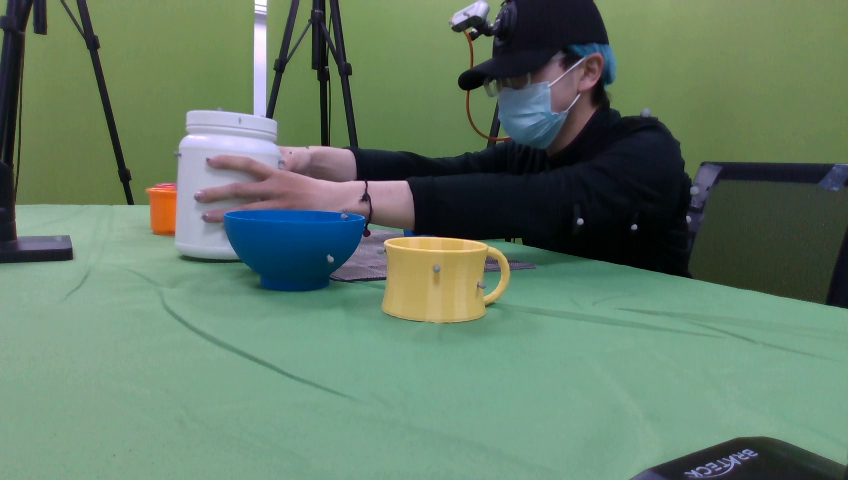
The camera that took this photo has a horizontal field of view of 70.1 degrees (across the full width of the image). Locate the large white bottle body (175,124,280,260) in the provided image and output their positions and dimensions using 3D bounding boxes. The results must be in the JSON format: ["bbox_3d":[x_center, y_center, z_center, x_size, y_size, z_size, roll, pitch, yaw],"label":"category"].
[{"bbox_3d":[-0.263,-0.071,0.818,0.131,0.184,0.130,4,5,0],"label":"large white bottle body"}]

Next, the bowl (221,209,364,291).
[{"bbox_3d":[-0.142,0.011,0.660,0.151,0.077,0.151,2,7,0],"label":"bowl"}]

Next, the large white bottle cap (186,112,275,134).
[{"bbox_3d":[-0.258,-0.155,0.811,0.115,0.018,0.115,3,5,0],"label":"large white bottle cap"}]

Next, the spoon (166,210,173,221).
[{"bbox_3d":[-0.447,-0.104,1.192,0.041,0.022,0.193,7,52,14],"label":"spoon"}]

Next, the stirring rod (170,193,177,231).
[{"bbox_3d":[-0.426,-0.083,1.059,0.014,0.006,0.175,2,49,-13],"label":"stirring rod"}]

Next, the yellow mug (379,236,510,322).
[{"bbox_3d":[0.024,0.034,0.575,0.131,0.064,0.099,1,7,-22],"label":"yellow mug"}]

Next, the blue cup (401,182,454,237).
[{"bbox_3d":[0.002,-0.038,0.966,0.093,0.100,0.092,4,9,0],"label":"blue cup"}]
